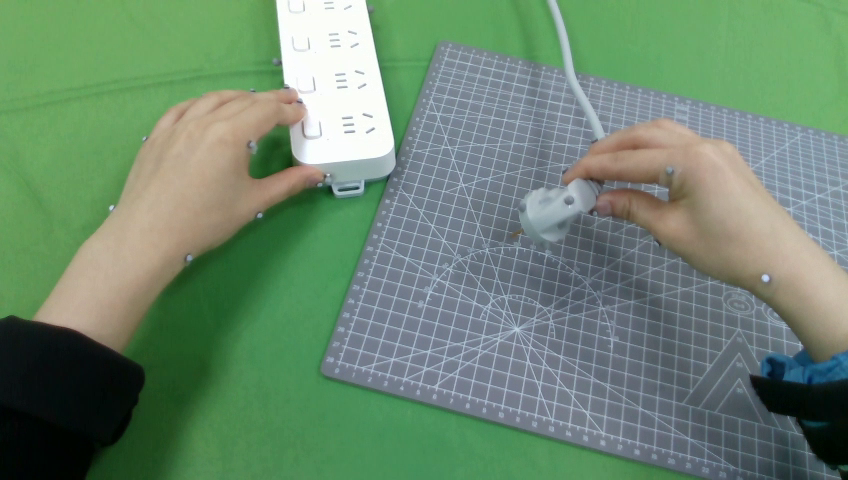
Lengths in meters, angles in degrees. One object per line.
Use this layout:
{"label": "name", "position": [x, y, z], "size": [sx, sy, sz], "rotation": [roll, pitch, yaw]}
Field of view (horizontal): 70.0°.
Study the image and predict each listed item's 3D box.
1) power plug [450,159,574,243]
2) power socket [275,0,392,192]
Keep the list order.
{"label": "power plug", "position": [0.055, -0.025, 0.365], "size": [0.073, 0.035, 0.052], "rotation": [3, 79, -9]}
{"label": "power socket", "position": [-0.073, -0.138, 0.463], "size": [0.072, 0.033, 0.224], "rotation": [-6, 61, -9]}
